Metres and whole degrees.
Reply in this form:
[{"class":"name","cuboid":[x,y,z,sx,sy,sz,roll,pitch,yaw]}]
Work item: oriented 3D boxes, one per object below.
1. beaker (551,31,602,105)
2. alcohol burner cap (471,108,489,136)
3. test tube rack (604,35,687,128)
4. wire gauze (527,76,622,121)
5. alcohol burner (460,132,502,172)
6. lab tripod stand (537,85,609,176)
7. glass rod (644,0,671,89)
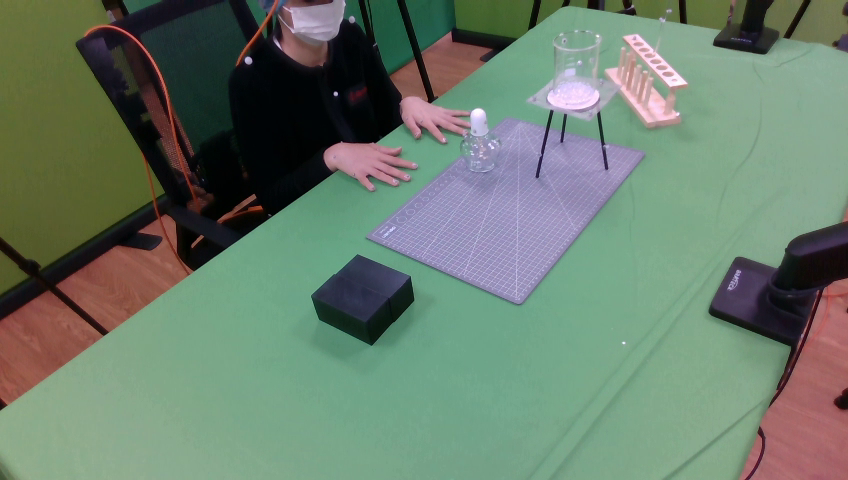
[{"class":"beaker","cuboid":[0.252,-0.282,0.998,0.084,0.101,0.073,-16,42,-7]},{"class":"alcohol burner cap","cuboid":[0.098,-0.211,1.074,0.034,0.048,0.033,-6,42,6]},{"class":"test tube rack","cuboid":[0.447,-0.330,1.241,0.067,0.085,0.241,-9,41,-2]},{"class":"wire gauze","cuboid":[0.255,-0.247,1.031,0.124,0.011,0.122,23,49,34]},{"class":"alcohol burner","cuboid":[0.102,-0.185,1.098,0.078,0.119,0.077,-6,40,5]},{"class":"lab tripod stand","cuboid":[0.259,-0.192,1.068,0.148,0.132,0.147,-4,42,4]},{"class":"glass rod","cuboid":[0.463,-0.387,1.204,0.008,0.200,0.008,0,47,1]}]
